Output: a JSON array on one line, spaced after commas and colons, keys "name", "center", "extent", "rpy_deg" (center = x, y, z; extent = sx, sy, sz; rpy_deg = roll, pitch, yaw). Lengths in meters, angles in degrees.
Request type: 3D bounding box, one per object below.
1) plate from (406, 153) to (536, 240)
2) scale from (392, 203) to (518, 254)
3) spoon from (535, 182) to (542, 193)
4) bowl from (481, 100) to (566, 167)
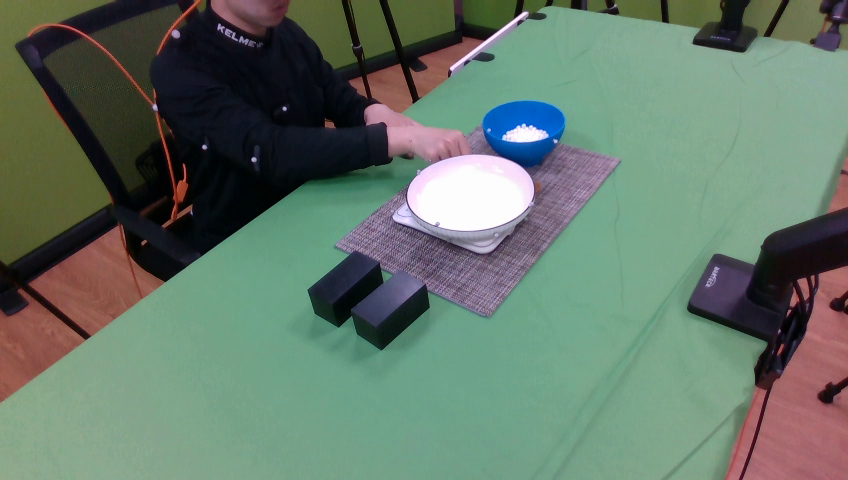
[{"name": "plate", "center": [0.075, -0.067, 0.973], "extent": [0.209, 0.038, 0.208], "rpy_deg": [-4, 41, 4]}, {"name": "scale", "center": [0.061, -0.050, 1.006], "extent": [0.199, 0.032, 0.149], "rpy_deg": [22, 48, 30]}, {"name": "spoon", "center": [0.120, -0.111, 1.076], "extent": [0.192, 0.022, 0.041], "rpy_deg": [22, 56, 28]}, {"name": "bowl", "center": [0.183, -0.187, 1.111], "extent": [0.151, 0.077, 0.150], "rpy_deg": [-4, 41, 4]}]
